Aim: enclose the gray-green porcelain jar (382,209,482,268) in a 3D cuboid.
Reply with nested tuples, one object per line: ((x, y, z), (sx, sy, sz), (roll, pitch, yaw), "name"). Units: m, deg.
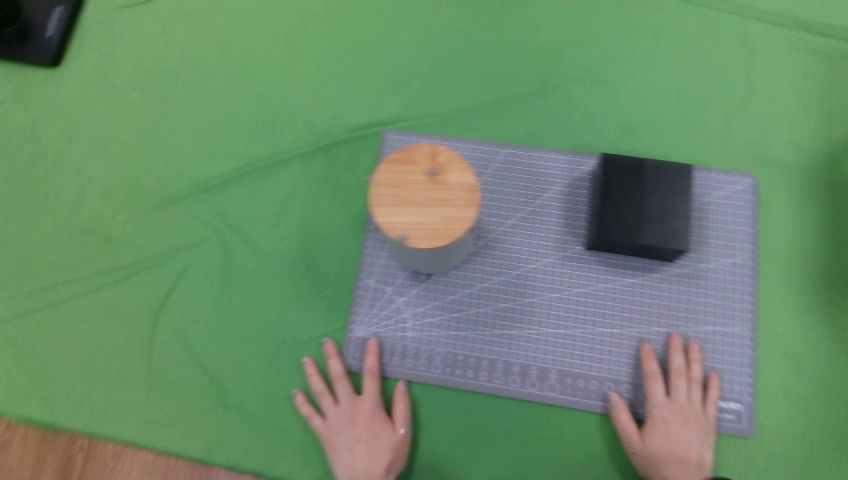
((0.009, -0.029, 0.653), (0.106, 0.127, 0.105), (-1, 75, 2), "gray-green porcelain jar")

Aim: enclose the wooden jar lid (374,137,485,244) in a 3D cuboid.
((0.006, -0.047, 0.593), (0.108, 0.021, 0.108), (0, 78, 2), "wooden jar lid")
